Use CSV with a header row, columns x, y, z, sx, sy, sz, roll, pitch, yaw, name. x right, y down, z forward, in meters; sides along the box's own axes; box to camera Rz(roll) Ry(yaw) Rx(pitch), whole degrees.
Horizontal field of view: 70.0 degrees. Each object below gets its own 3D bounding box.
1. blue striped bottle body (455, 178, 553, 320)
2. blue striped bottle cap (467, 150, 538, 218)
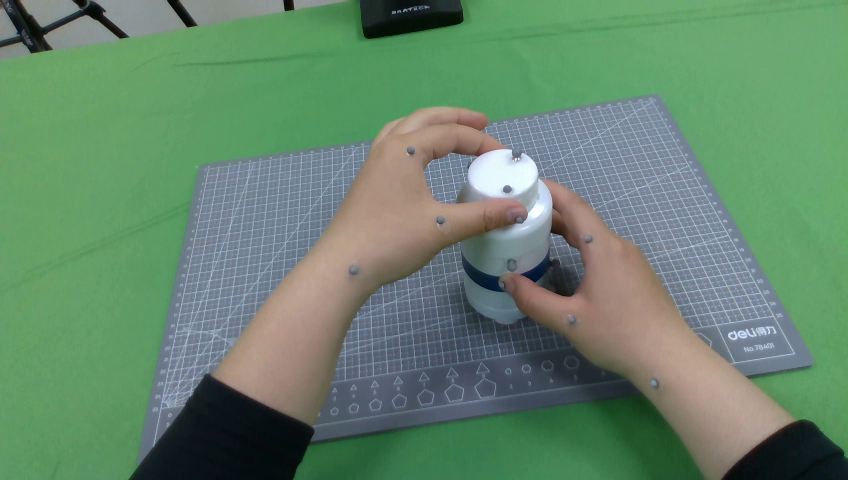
x,y,z,sx,sy,sz,roll,pitch,yaw,name
0.055,-0.003,0.413,0.063,0.122,0.062,-4,50,5,blue striped bottle body
0.048,-0.035,0.374,0.044,0.021,0.044,-3,48,4,blue striped bottle cap
